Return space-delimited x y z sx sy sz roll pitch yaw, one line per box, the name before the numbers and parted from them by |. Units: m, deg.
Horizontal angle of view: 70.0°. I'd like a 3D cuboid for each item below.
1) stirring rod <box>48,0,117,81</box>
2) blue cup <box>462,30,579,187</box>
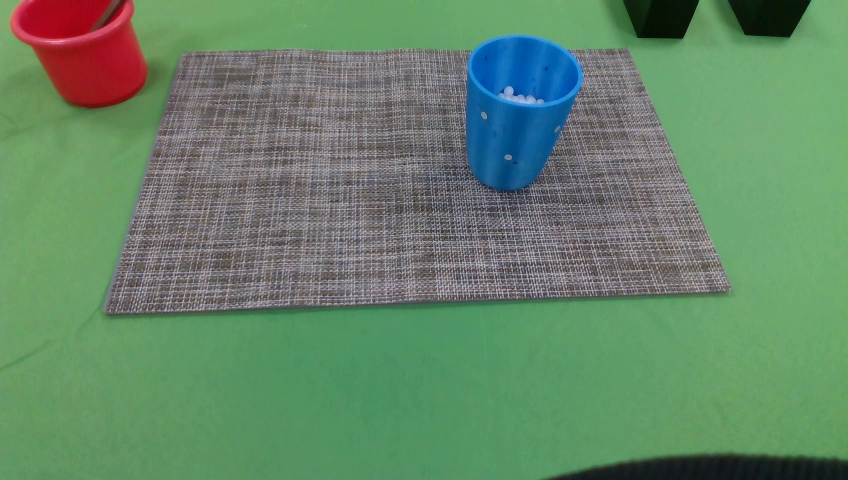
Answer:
stirring rod | -0.277 -0.203 0.526 0.176 0.006 0.014 -40 59 18
blue cup | 0.067 -0.097 0.479 0.093 0.101 0.091 2 53 -3
